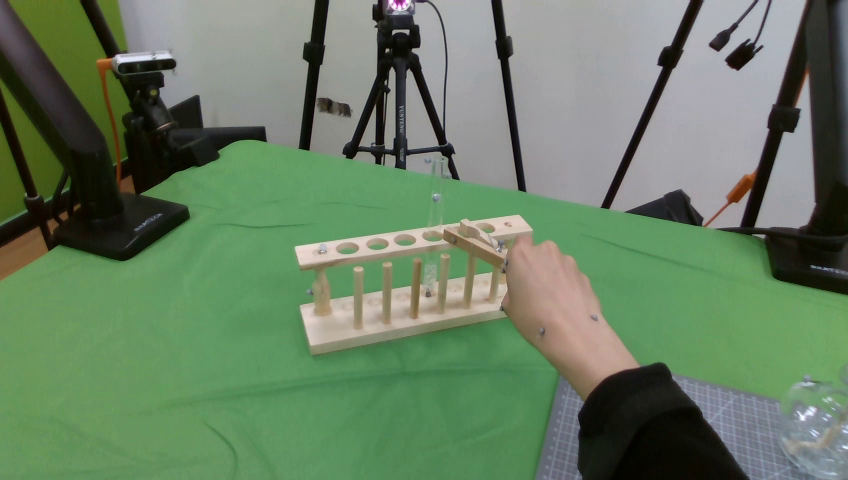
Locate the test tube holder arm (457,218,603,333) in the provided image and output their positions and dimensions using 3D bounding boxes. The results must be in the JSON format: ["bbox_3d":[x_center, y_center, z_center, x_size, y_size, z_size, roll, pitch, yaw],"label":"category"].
[{"bbox_3d":[0.085,0.025,0.519,0.013,0.015,0.176,-27,42,-25],"label":"test tube holder arm"}]

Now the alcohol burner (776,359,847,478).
[{"bbox_3d":[0.323,0.127,0.470,0.078,0.120,0.077,2,34,-1],"label":"alcohol burner"}]

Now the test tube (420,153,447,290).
[{"bbox_3d":[0.009,-0.015,0.611,0.017,0.151,0.017,4,27,-2],"label":"test tube"}]

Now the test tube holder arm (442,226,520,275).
[{"bbox_3d":[0.052,0.009,0.545,0.087,0.015,0.010,25,46,33],"label":"test tube holder arm"}]

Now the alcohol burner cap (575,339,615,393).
[{"bbox_3d":[0.157,0.112,0.550,0.034,0.048,0.033,2,34,-1],"label":"alcohol burner cap"}]

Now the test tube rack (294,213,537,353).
[{"bbox_3d":[-0.003,0.040,0.617,0.243,0.086,0.066,-8,34,-17],"label":"test tube rack"}]
